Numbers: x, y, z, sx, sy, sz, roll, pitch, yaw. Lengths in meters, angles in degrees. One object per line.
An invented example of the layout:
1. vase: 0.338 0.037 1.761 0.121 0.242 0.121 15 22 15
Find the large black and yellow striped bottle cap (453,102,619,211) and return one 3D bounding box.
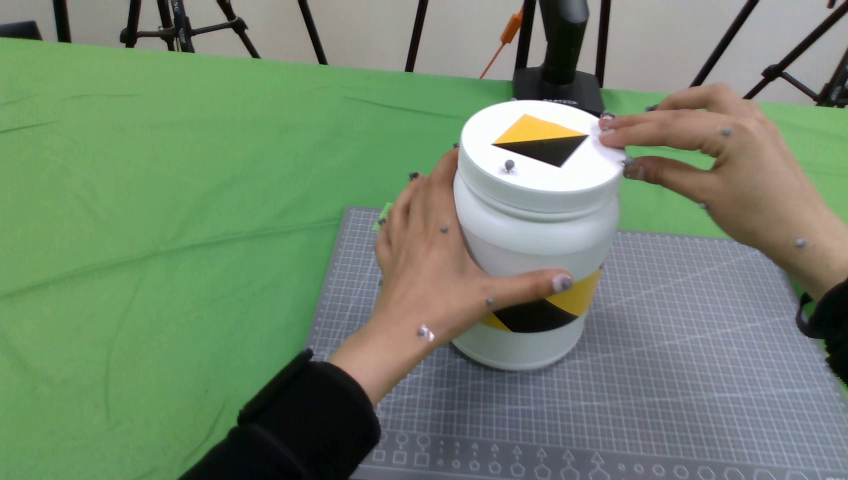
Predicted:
1. large black and yellow striped bottle cap: 0.078 -0.062 0.424 0.115 0.019 0.114 2 41 -2

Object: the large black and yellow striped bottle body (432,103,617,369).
1. large black and yellow striped bottle body: 0.076 -0.001 0.482 0.131 0.185 0.129 2 43 -2
